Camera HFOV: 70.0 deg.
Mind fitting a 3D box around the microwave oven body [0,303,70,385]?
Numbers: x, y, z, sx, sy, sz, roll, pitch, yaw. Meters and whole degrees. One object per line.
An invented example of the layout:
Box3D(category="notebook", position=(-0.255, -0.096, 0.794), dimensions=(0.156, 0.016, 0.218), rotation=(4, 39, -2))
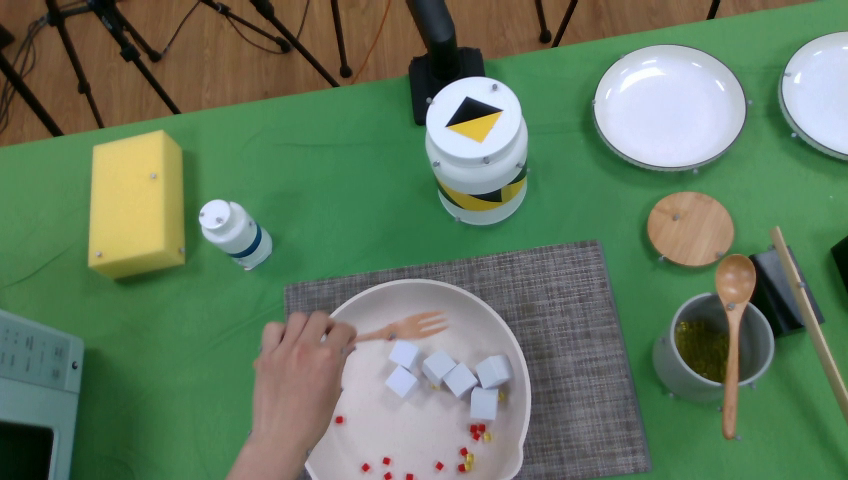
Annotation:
Box3D(category="microwave oven body", position=(-0.642, 0.310, 0.702), dimensions=(0.326, 0.262, 0.438), rotation=(-8, 68, 5))

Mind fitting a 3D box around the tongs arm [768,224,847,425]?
Box3D(category="tongs arm", position=(0.481, 0.157, 0.678), dimensions=(0.051, 0.026, 0.383), rotation=(-15, 79, -1))

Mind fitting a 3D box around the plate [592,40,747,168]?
Box3D(category="plate", position=(0.347, -0.192, 0.873), dimensions=(0.207, 0.039, 0.206), rotation=(-3, 69, 8))

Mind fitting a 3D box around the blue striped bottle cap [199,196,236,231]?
Box3D(category="blue striped bottle cap", position=(-0.274, -0.035, 0.805), dimensions=(0.044, 0.021, 0.044), rotation=(-3, 70, 8))

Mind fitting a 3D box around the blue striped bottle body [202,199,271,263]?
Box3D(category="blue striped bottle body", position=(-0.266, -0.016, 0.852), dimensions=(0.063, 0.122, 0.062), rotation=(-3, 68, 8))

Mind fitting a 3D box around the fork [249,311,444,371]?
Box3D(category="fork", position=(-0.078, 0.108, 0.638), dimensions=(0.208, 0.018, 0.028), rotation=(-11, 81, -16))

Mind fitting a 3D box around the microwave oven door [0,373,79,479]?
Box3D(category="microwave oven door", position=(-0.496, 0.327, 0.668), dimensions=(0.039, 0.246, 0.353), rotation=(-8, 67, 6))

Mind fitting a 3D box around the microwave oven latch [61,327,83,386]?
Box3D(category="microwave oven latch", position=(-0.498, 0.162, 0.842), dimensions=(0.030, 0.030, 0.078), rotation=(-5, 69, 6))

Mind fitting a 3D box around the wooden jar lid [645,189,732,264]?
Box3D(category="wooden jar lid", position=(0.353, -0.017, 0.813), dimensions=(0.108, 0.021, 0.107), rotation=(-3, 70, 8))

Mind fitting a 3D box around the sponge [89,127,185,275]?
Box3D(category="sponge", position=(-0.438, -0.060, 0.927), dimensions=(0.118, 0.061, 0.205), rotation=(-13, 68, 3))

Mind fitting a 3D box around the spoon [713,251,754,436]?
Box3D(category="spoon", position=(0.322, 0.106, 0.636), dimensions=(0.041, 0.022, 0.192), rotation=(8, 74, 8))

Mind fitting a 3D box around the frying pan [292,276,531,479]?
Box3D(category="frying pan", position=(-0.076, 0.268, 0.718), dimensions=(0.305, 0.103, 0.486), rotation=(32, 68, 19))

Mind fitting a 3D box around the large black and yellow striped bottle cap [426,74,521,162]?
Box3D(category="large black and yellow striped bottle cap", position=(0.059, -0.148, 0.729), dimensions=(0.115, 0.019, 0.114), rotation=(-3, 70, 8))

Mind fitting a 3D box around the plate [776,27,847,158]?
Box3D(category="plate", position=(0.596, -0.199, 0.836), dimensions=(0.209, 0.038, 0.207), rotation=(-3, 68, 8))

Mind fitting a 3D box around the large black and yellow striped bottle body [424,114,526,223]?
Box3D(category="large black and yellow striped bottle body", position=(0.071, -0.116, 0.806), dimensions=(0.130, 0.185, 0.130), rotation=(-3, 68, 8))

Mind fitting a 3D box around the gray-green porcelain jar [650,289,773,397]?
Box3D(category="gray-green porcelain jar", position=(0.326, 0.125, 0.704), dimensions=(0.106, 0.127, 0.105), rotation=(-3, 68, 8))
